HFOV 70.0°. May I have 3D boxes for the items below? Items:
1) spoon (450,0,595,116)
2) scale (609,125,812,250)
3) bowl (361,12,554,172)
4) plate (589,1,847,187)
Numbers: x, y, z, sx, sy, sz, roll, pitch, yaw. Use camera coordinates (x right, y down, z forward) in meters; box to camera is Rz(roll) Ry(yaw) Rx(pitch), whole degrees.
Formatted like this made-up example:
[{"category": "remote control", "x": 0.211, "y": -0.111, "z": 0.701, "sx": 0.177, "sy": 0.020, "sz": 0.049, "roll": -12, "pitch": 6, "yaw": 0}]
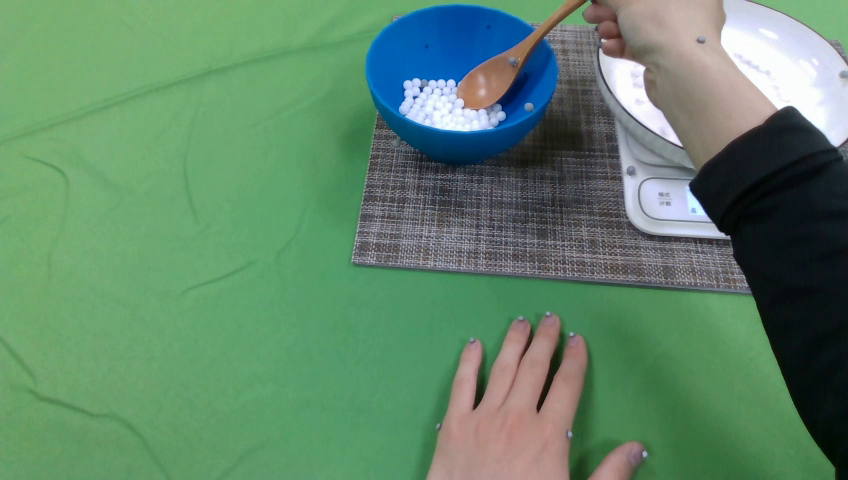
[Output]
[{"category": "spoon", "x": 0.096, "y": -0.161, "z": 0.470, "sx": 0.022, "sy": 0.194, "sz": 0.041, "roll": 12, "pitch": 51, "yaw": -46}, {"category": "scale", "x": 0.234, "y": -0.083, "z": 0.515, "sx": 0.148, "sy": 0.032, "sz": 0.199, "roll": 4, "pitch": 56, "yaw": 2}, {"category": "bowl", "x": 0.026, "y": -0.110, "z": 0.501, "sx": 0.151, "sy": 0.077, "sz": 0.150, "roll": 0, "pitch": 55, "yaw": 0}, {"category": "plate", "x": 0.237, "y": -0.121, "z": 0.500, "sx": 0.209, "sy": 0.038, "sz": 0.207, "roll": 1, "pitch": 56, "yaw": -1}]
